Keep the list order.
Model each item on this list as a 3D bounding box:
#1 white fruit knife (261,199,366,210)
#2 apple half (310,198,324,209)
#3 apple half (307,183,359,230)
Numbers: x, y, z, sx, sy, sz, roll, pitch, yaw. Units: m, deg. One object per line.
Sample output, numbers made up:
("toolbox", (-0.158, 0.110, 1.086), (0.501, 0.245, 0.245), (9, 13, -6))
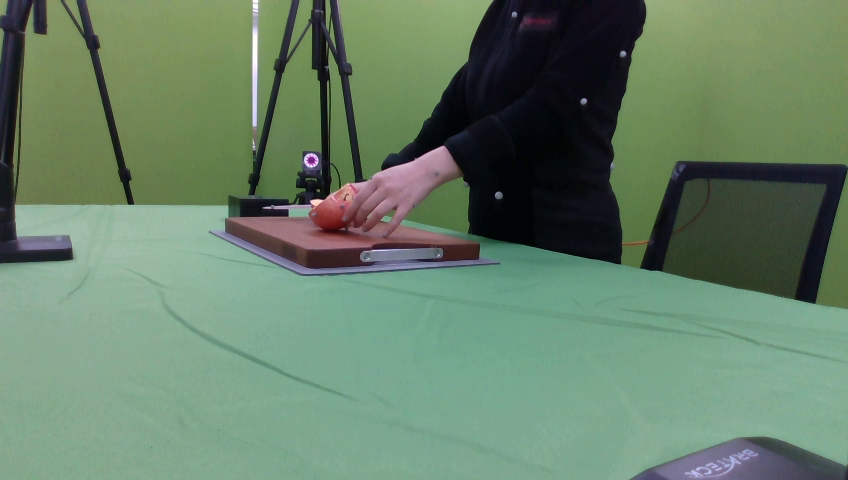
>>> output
("white fruit knife", (-0.198, -0.063, 1.115), (0.208, 0.016, 0.027), (-5, -12, -31))
("apple half", (-0.161, -0.044, 1.036), (0.081, 0.033, 0.081), (16, 15, -4))
("apple half", (-0.135, -0.045, 0.937), (0.074, 0.053, 0.081), (-28, 12, 39))
